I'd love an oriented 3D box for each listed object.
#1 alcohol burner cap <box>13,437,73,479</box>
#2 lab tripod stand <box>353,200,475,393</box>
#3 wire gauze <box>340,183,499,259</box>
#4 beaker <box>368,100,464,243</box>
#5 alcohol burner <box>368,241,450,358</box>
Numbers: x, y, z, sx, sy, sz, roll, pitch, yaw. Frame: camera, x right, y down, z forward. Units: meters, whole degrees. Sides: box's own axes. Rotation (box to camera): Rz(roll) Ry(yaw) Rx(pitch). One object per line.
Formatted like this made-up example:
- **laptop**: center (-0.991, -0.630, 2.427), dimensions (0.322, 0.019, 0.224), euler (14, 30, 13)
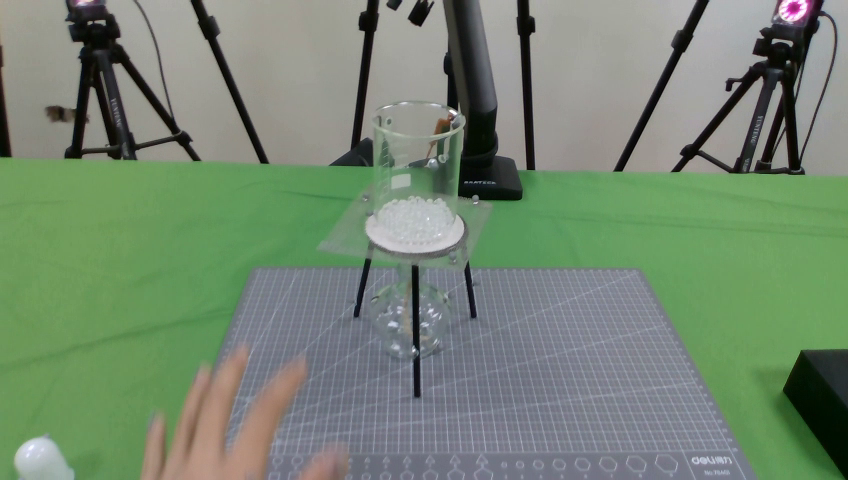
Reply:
- **alcohol burner cap**: center (-0.281, 0.166, 0.442), dimensions (0.034, 0.048, 0.033), euler (3, 32, -1)
- **lab tripod stand**: center (-0.006, 0.043, 0.556), dimensions (0.148, 0.132, 0.147), euler (3, 34, -1)
- **wire gauze**: center (-0.004, -0.022, 0.507), dimensions (0.125, 0.011, 0.120), euler (4, 30, -7)
- **beaker**: center (-0.005, -0.055, 0.498), dimensions (0.084, 0.101, 0.073), euler (-21, 41, -32)
- **alcohol burner**: center (-0.013, 0.051, 0.562), dimensions (0.078, 0.120, 0.077), euler (3, 32, -1)
